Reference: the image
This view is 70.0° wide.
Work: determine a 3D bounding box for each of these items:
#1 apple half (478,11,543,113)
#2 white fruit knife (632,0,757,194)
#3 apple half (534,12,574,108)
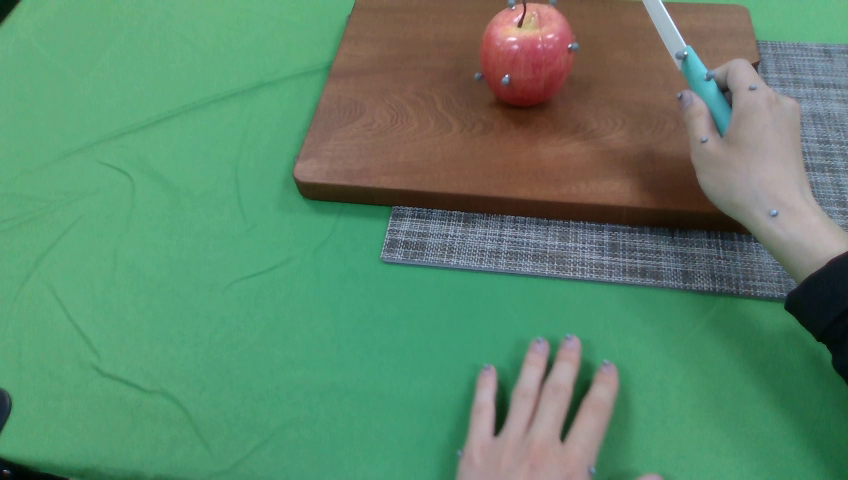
[{"bbox_3d":[0.074,-0.153,0.529,0.053,0.075,0.080,-5,58,7],"label":"apple half"},{"bbox_3d":[0.195,-0.130,0.459,0.016,0.027,0.206,-26,82,-7],"label":"white fruit knife"},{"bbox_3d":[0.113,-0.156,0.526,0.033,0.082,0.080,-6,54,7],"label":"apple half"}]
